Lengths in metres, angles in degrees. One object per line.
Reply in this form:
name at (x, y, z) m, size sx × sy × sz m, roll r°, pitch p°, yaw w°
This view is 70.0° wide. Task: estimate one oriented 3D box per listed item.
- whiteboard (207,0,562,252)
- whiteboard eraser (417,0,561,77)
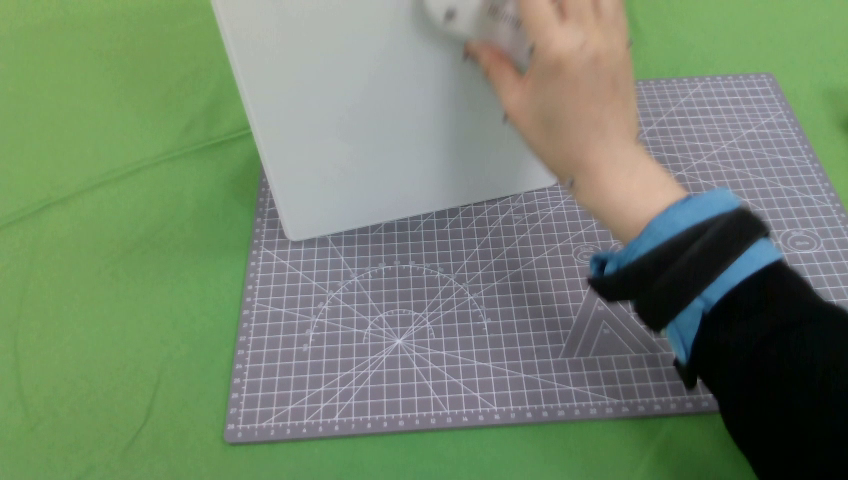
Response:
whiteboard at (-0.028, -0.175, 0.426) m, size 0.217 × 0.308 × 0.142 m, roll -12°, pitch 37°, yaw -5°
whiteboard eraser at (0.043, -0.135, 0.384) m, size 0.102 × 0.041 × 0.018 m, roll 14°, pitch 29°, yaw -27°
